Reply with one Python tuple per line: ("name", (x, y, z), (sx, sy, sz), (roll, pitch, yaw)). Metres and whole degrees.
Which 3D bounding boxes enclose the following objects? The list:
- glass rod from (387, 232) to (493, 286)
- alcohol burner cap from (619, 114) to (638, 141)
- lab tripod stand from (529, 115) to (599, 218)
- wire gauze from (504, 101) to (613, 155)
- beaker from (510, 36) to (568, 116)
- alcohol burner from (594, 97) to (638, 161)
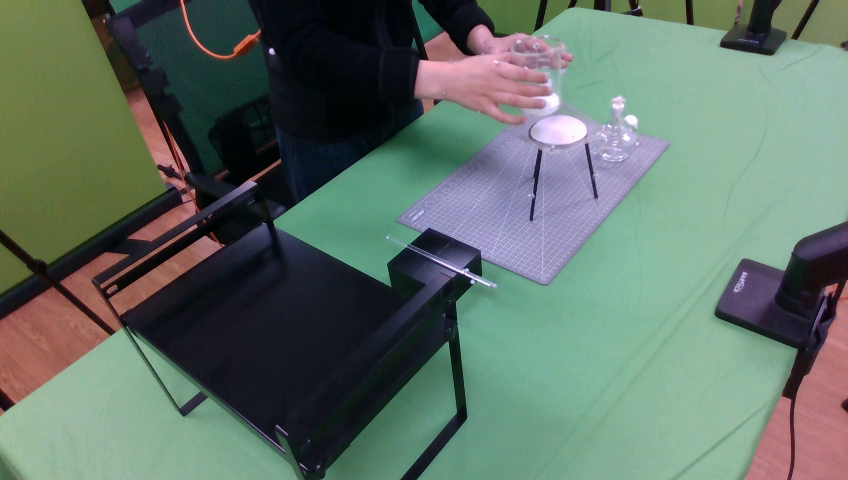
("glass rod", (0.018, 0.026, 0.878), (0.198, 0.008, 0.008), (25, 50, 33))
("alcohol burner cap", (0.388, -0.215, 1.145), (0.034, 0.048, 0.033), (-2, 39, 2))
("lab tripod stand", (0.218, -0.123, 0.995), (0.148, 0.132, 0.147), (-4, 43, 4))
("wire gauze", (0.211, -0.177, 0.955), (0.125, 0.011, 0.120), (-24, 44, -18))
("beaker", (0.176, -0.246, 0.913), (0.083, 0.101, 0.074), (3, 40, 18))
("alcohol burner", (0.345, -0.203, 1.083), (0.078, 0.119, 0.077), (-5, 42, 5))
